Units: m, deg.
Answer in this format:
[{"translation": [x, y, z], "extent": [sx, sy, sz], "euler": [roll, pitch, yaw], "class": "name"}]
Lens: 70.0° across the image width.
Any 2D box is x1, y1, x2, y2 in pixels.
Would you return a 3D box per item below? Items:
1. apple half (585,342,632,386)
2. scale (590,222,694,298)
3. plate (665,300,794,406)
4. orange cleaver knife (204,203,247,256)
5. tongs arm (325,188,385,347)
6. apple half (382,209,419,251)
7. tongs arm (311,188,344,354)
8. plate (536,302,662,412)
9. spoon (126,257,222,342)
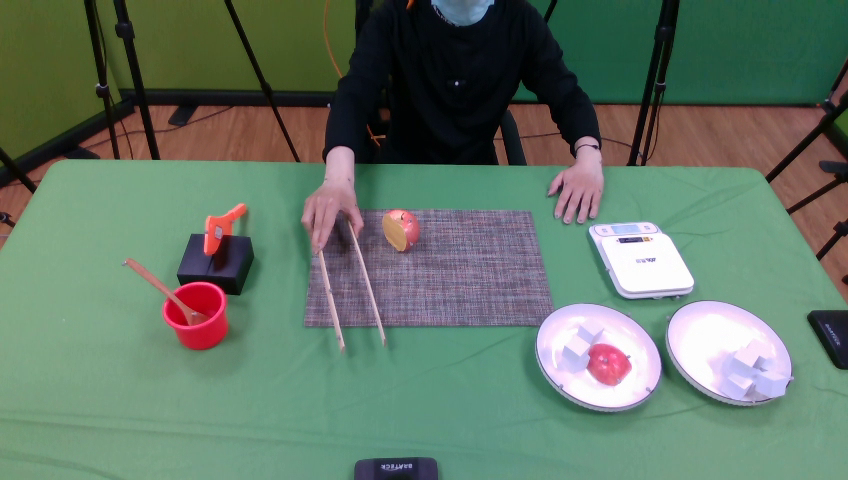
[{"translation": [0.309, 0.198, 1.008], "extent": [0.081, 0.033, 0.081], "euler": [4, 48, -4], "class": "apple half"}, {"translation": [0.424, 0.031, 1.189], "extent": [0.149, 0.032, 0.199], "euler": [-3, 46, -7], "class": "scale"}, {"translation": [0.513, 0.194, 1.034], "extent": [0.208, 0.039, 0.206], "euler": [2, 46, -2], "class": "plate"}, {"translation": [-0.374, -0.024, 1.146], "extent": [0.012, 0.077, 0.211], "euler": [4, 14, 1], "class": "orange cleaver knife"}, {"translation": [-0.129, 0.036, 1.123], "extent": [0.028, 0.028, 0.385], "euler": [-13, 49, -14], "class": "tongs arm"}, {"translation": [-0.039, -0.022, 1.175], "extent": [0.053, 0.075, 0.080], "euler": [-27, 49, -31], "class": "apple half"}, {"translation": [-0.168, 0.041, 1.112], "extent": [0.051, 0.026, 0.382], "euler": [-9, 48, -16], "class": "tongs arm"}, {"translation": [0.288, 0.197, 1.016], "extent": [0.209, 0.038, 0.208], "euler": [2, 46, -2], "class": "plate"}, {"translation": [-0.408, 0.096, 0.990], "extent": [0.194, 0.021, 0.041], "euler": [50, 53, -18], "class": "spoon"}]
